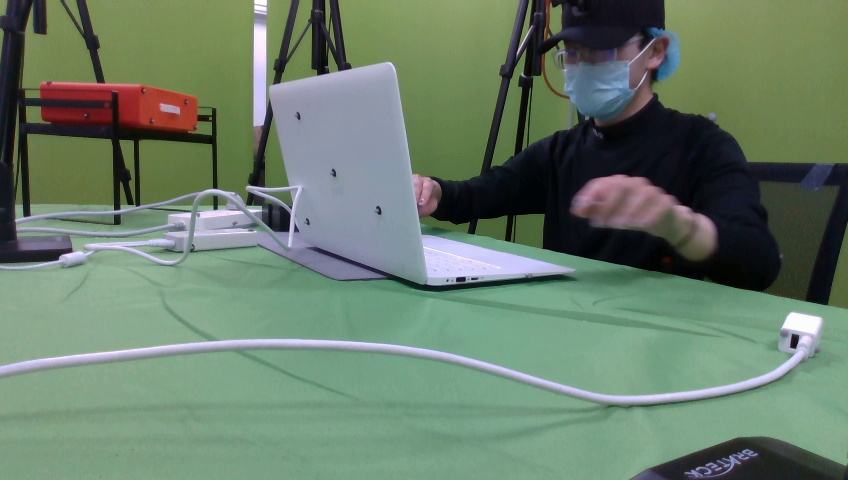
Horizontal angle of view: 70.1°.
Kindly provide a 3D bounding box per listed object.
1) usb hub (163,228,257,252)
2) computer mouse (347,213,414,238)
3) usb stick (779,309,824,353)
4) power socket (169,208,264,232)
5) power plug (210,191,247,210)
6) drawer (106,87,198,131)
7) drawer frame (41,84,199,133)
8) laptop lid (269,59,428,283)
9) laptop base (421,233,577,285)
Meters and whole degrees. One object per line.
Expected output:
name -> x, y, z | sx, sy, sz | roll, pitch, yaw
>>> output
usb hub -> -0.314, 0.000, 0.894 | 0.049, 0.025, 0.126 | 9, 11, 41
computer mouse -> -0.079, -0.025, 1.080 | 0.117, 0.041, 0.062 | -5, 11, -18
usb stick -> 0.311, 0.072, 0.496 | 0.027, 0.021, 0.059 | 8, 15, 34
power socket -> -0.381, -0.038, 1.128 | 0.072, 0.032, 0.227 | 4, 8, 17
power plug -> -0.386, -0.071, 1.204 | 0.072, 0.052, 0.035 | 8, 11, 25
drawer -> -0.602, -0.263, 1.225 | 0.211, 0.073, 0.195 | 3, 8, 10
drawer frame -> -0.604, -0.264, 1.225 | 0.213, 0.082, 0.202 | 3, 8, 8
laptop lid -> -0.110, -0.087, 0.752 | 0.013, 0.241, 0.355 | -18, 19, -30
laptop base -> 0.007, 0.022, 0.850 | 0.237, 0.023, 0.352 | 1, 7, -34
